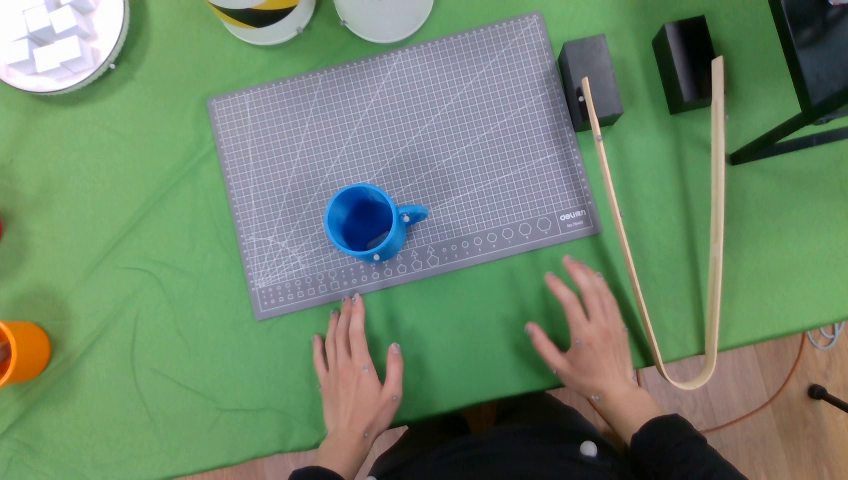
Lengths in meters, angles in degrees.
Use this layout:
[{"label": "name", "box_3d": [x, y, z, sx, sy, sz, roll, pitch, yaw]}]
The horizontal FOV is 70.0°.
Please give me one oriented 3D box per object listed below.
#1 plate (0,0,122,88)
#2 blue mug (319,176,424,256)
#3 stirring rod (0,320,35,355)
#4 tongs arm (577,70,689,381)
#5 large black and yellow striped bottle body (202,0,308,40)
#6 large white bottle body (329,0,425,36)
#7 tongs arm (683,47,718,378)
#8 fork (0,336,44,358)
[{"label": "plate", "box_3d": [-0.495, -0.298, 0.796, 0.207, 0.039, 0.207, 0, 85, 3]}, {"label": "blue mug", "box_3d": [-0.056, -0.029, 0.717, 0.116, 0.106, 0.082, -14, 84, 1]}, {"label": "stirring rod", "box_3d": [-0.534, 0.156, 0.710, 0.014, 0.006, 0.175, 32, 45, 2]}, {"label": "tongs arm", "box_3d": [0.248, -0.016, 0.719, 0.051, 0.026, 0.385, -14, 94, 0]}, {"label": "large black and yellow striped bottle body", "box_3d": [-0.220, -0.333, 0.713, 0.131, 0.184, 0.130, 0, 84, 3]}, {"label": "large white bottle body", "box_3d": [-0.065, -0.336, 0.705, 0.130, 0.185, 0.130, 0, 85, 3]}, {"label": "tongs arm", "box_3d": [0.330, -0.029, 0.716, 0.028, 0.027, 0.388, 0, 94, -4]}, {"label": "fork", "box_3d": [-0.567, 0.125, 0.708, 0.209, 0.018, 0.028, 8, 82, -40]}]
